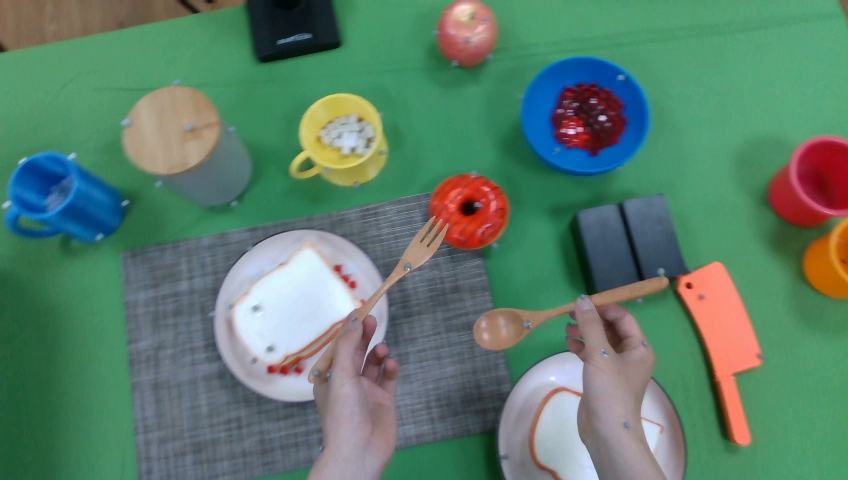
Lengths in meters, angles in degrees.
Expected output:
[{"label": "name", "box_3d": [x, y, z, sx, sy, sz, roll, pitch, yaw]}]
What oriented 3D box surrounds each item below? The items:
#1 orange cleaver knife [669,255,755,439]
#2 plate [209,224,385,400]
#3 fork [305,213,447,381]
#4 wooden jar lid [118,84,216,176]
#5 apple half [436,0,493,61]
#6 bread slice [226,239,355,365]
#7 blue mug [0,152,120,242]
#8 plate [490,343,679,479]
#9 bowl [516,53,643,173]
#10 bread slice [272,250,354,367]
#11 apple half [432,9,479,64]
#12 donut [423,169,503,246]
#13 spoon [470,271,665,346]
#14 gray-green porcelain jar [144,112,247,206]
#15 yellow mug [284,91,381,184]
[{"label": "orange cleaver knife", "box_3d": [0.349, 0.122, 0.713, 0.077, 0.012, 0.210, -9, 75, -7]}, {"label": "plate", "box_3d": [-0.149, 0.086, 0.726, 0.207, 0.039, 0.206, 0, 76, 2]}, {"label": "fork", "box_3d": [-0.045, 0.052, 0.587, 0.028, 0.019, 0.207, 34, 67, 16]}, {"label": "wooden jar lid", "box_3d": [-0.284, -0.120, 0.676, 0.108, 0.021, 0.108, -1, 74, 3]}, {"label": "apple half", "box_3d": [0.060, -0.281, 0.794, 0.053, 0.075, 0.080, -43, 74, -13]}, {"label": "bread slice", "box_3d": [-0.159, 0.080, 0.703, 0.134, 0.018, 0.106, -41, 75, -10]}, {"label": "blue mug", "box_3d": [-0.451, -0.040, 0.737, 0.116, 0.106, 0.082, -36, 77, -6]}, {"label": "plate", "box_3d": [0.177, 0.223, 0.684, 0.209, 0.038, 0.208, 0, 76, 1]}, {"label": "bowl", "box_3d": [0.186, -0.145, 0.754, 0.151, 0.077, 0.150, 0, 77, 2]}, {"label": "bread slice", "box_3d": [-0.158, 0.088, 0.729, 0.131, 0.019, 0.104, -39, 79, -9]}, {"label": "apple half", "box_3d": [0.033, -0.254, 0.787, 0.081, 0.081, 0.033, 44, 77, 12]}, {"label": "donut", "box_3d": [0.047, -0.040, 0.747, 0.099, 0.048, 0.098, 0, 77, 2]}, {"label": "spoon", "box_3d": [0.132, 0.064, 0.580, 0.193, 0.022, 0.041, -21, 68, 28]}, {"label": "gray-green porcelain jar", "box_3d": [-0.281, -0.104, 0.736, 0.106, 0.127, 0.105, 0, 76, 2]}, {"label": "yellow mug", "box_3d": [-0.120, -0.120, 0.765, 0.131, 0.064, 0.099, -35, 78, -6]}]
